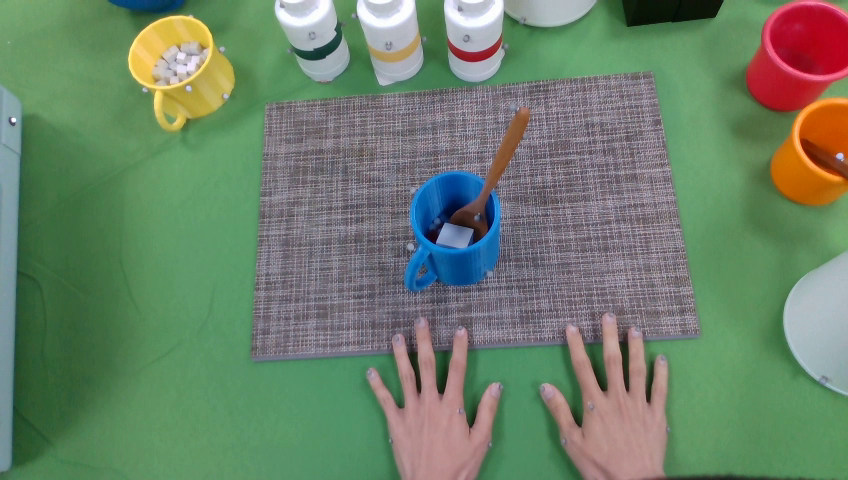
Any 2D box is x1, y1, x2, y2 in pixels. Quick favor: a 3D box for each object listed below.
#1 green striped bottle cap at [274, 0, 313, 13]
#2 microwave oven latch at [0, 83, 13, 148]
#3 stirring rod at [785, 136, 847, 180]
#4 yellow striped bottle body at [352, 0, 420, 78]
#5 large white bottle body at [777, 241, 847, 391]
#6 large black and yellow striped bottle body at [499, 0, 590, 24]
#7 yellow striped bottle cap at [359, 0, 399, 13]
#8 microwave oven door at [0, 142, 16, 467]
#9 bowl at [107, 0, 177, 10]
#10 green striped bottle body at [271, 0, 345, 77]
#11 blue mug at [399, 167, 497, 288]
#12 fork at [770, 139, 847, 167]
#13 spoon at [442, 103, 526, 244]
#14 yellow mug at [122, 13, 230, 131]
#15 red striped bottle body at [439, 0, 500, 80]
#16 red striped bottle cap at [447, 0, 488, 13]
[{"bbox_3d":[-0.137,-0.261,0.632,0.044,0.020,0.044,-1,70,3],"label":"green striped bottle cap"},{"bbox_3d":[-0.499,-0.145,0.705,0.030,0.030,0.078,-12,71,1],"label":"microwave oven latch"},{"bbox_3d":[0.386,-0.068,0.566,0.014,0.006,0.174,-1,28,2],"label":"stirring rod"},{"bbox_3d":[-0.042,-0.240,0.671,0.063,0.121,0.062,-2,70,6],"label":"yellow striped bottle body"},{"bbox_3d":[0.396,0.052,0.497,0.130,0.186,0.129,-2,71,5],"label":"large white bottle body"},{"bbox_3d":[0.135,-0.343,0.657,0.130,0.185,0.130,-2,71,5],"label":"large black and yellow striped bottle body"},{"bbox_3d":[-0.047,-0.257,0.623,0.044,0.019,0.044,-1,72,5],"label":"yellow striped bottle cap"},{"bbox_3d":[-0.466,0.024,0.537,0.039,0.245,0.353,-13,70,1],"label":"microwave oven door"},{"bbox_3d":[-0.351,-0.344,0.757,0.151,0.077,0.150,-1,71,4],"label":"bowl"},{"bbox_3d":[-0.131,-0.243,0.681,0.063,0.120,0.063,-2,71,5],"label":"green striped bottle body"},{"bbox_3d":[0.018,0.000,0.588,0.082,0.106,0.116,39,79,17],"label":"blue mug"},{"bbox_3d":[0.416,-0.068,0.556,0.028,0.019,0.205,-41,28,-8],"label":"fork"},{"bbox_3d":[0.054,-0.051,0.542,0.041,0.195,0.021,30,59,4],"label":"spoon"},{"bbox_3d":[-0.290,-0.190,0.705,0.100,0.064,0.130,6,72,6],"label":"yellow mug"},{"bbox_3d":[0.051,-0.235,0.662,0.063,0.120,0.062,-3,69,7],"label":"red striped bottle body"},{"bbox_3d":[0.045,-0.253,0.612,0.044,0.018,0.044,0,69,1],"label":"red striped bottle cap"}]
